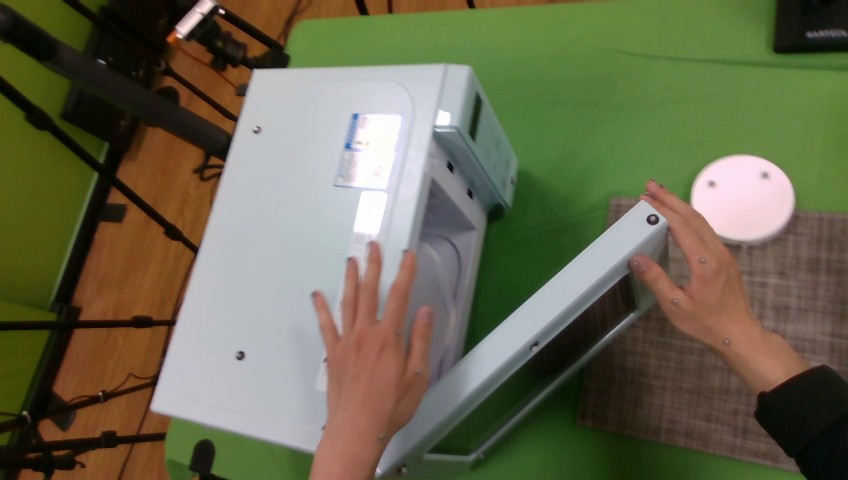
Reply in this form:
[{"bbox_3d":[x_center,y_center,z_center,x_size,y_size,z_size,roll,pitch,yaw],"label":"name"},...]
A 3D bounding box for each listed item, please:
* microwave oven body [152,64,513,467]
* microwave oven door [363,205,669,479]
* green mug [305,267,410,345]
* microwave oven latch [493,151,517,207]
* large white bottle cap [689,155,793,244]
[{"bbox_3d":[-0.094,0.036,0.782,0.324,0.262,0.439,5,74,23],"label":"microwave oven body"},{"bbox_3d":[0.118,0.130,0.656,0.356,0.246,0.039,-43,61,3],"label":"microwave oven door"},{"bbox_3d":[-0.080,0.083,0.784,0.125,0.106,0.092,-8,72,12],"label":"green mug"},{"bbox_3d":[0.112,-0.088,0.852,0.030,0.030,0.079,6,74,23],"label":"microwave oven latch"},{"bbox_3d":[0.392,-0.051,0.752,0.114,0.018,0.114,-7,68,19],"label":"large white bottle cap"}]
